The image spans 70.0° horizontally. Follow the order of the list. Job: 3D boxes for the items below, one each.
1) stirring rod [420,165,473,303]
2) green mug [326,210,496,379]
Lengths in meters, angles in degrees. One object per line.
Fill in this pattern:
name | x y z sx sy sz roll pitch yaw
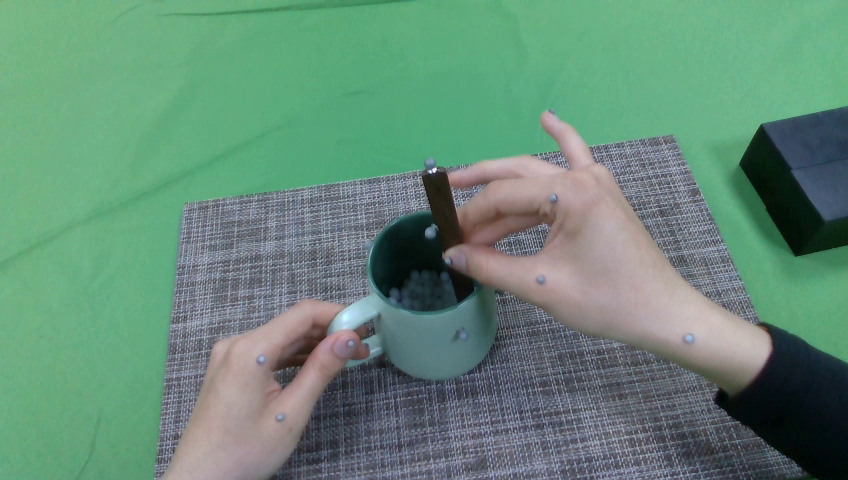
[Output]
stirring rod | 0.020 0.013 0.379 0.014 0.178 0.005 -12 54 4
green mug | -0.009 0.048 0.420 0.125 0.106 0.091 -28 60 -13
